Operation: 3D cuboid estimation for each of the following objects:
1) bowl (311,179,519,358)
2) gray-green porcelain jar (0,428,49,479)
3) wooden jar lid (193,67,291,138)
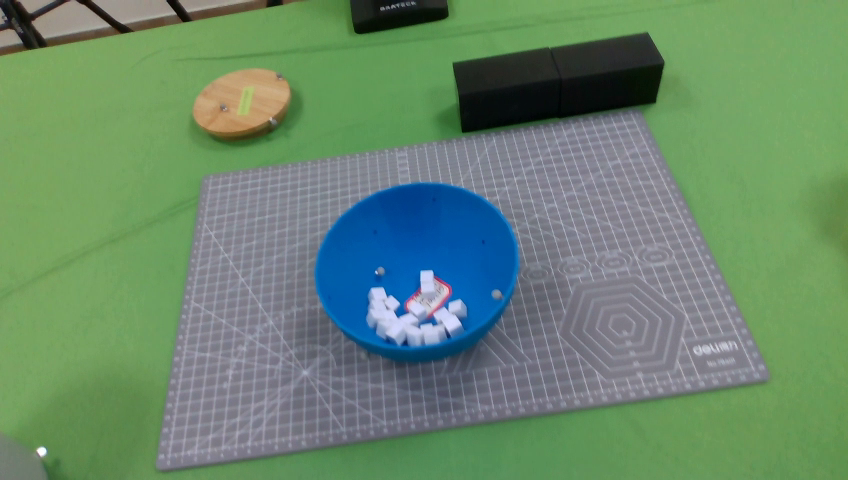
[{"bbox_3d":[-0.003,0.033,0.466,0.151,0.077,0.150,-3,52,5],"label":"bowl"},{"bbox_3d":[-0.317,0.161,0.383,0.106,0.128,0.105,-4,52,5],"label":"gray-green porcelain jar"},{"bbox_3d":[-0.201,-0.152,0.675,0.108,0.021,0.107,-2,53,3],"label":"wooden jar lid"}]
